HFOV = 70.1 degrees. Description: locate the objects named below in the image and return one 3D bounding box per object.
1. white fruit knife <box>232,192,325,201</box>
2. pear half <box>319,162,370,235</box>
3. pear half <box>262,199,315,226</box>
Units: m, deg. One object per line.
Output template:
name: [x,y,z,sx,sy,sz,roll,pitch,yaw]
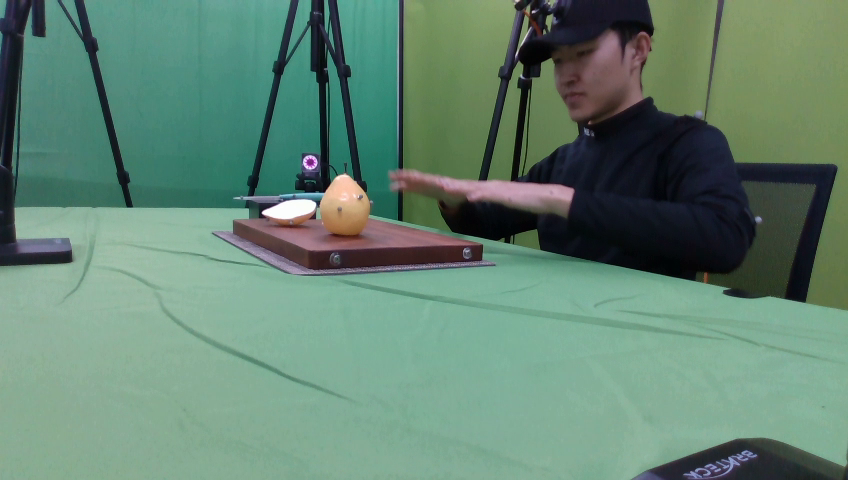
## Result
white fruit knife: [-0.302,-0.090,1.291,0.208,0.016,0.027,-4,-13,-27]
pear half: [-0.111,-0.061,0.894,0.055,0.110,0.077,8,13,40]
pear half: [-0.223,-0.041,1.008,0.088,0.031,0.070,-11,22,2]
